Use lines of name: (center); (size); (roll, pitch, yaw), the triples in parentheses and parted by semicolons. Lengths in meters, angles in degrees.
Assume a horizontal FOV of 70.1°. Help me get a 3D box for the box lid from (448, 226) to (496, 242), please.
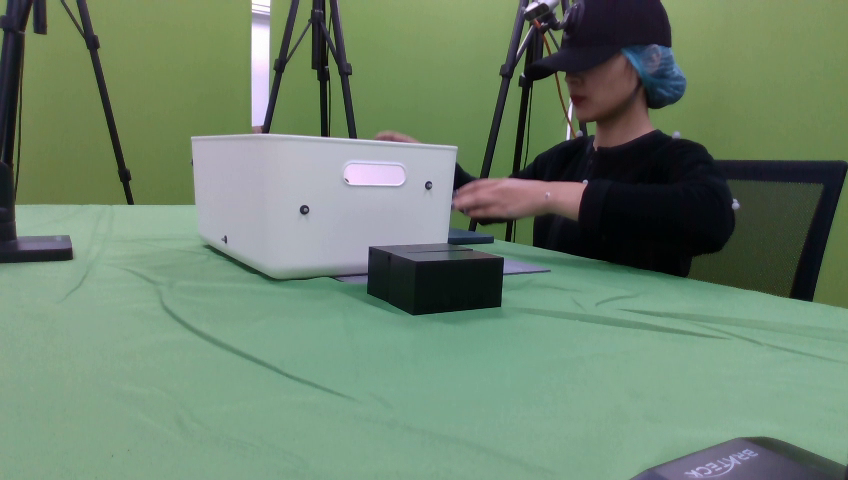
box lid: (-0.061, -0.021, 1.188); (0.265, 0.015, 0.369); (-2, 8, -32)

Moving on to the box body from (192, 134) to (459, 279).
box body: (-0.154, -0.059, 0.840); (0.255, 0.160, 0.362); (-2, 9, -33)

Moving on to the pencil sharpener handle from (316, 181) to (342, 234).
pencil sharpener handle: (-0.119, -0.042, 0.787); (0.036, 0.067, 0.030); (2, 7, -31)

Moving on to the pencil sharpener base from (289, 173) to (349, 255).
pencil sharpener base: (-0.145, -0.037, 0.832); (0.062, 0.107, 0.076); (-1, 8, -31)
